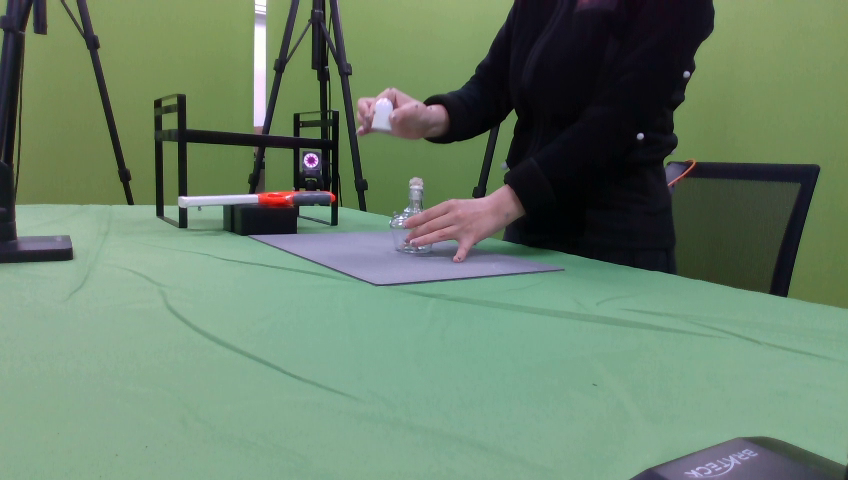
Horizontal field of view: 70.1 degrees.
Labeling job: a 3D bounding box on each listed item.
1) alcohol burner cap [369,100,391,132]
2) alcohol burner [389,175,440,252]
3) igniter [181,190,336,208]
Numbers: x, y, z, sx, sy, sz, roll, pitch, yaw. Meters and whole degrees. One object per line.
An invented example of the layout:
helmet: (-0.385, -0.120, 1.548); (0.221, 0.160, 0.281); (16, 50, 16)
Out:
alcohol burner cap: (-0.065, -0.189, 0.920); (0.034, 0.048, 0.034); (5, 3, 0)
alcohol burner: (-0.013, -0.041, 0.930); (0.078, 0.119, 0.078); (4, 7, 0)
igniter: (-0.294, -0.075, 1.103); (0.278, 0.025, 0.057); (-5, 12, -33)
